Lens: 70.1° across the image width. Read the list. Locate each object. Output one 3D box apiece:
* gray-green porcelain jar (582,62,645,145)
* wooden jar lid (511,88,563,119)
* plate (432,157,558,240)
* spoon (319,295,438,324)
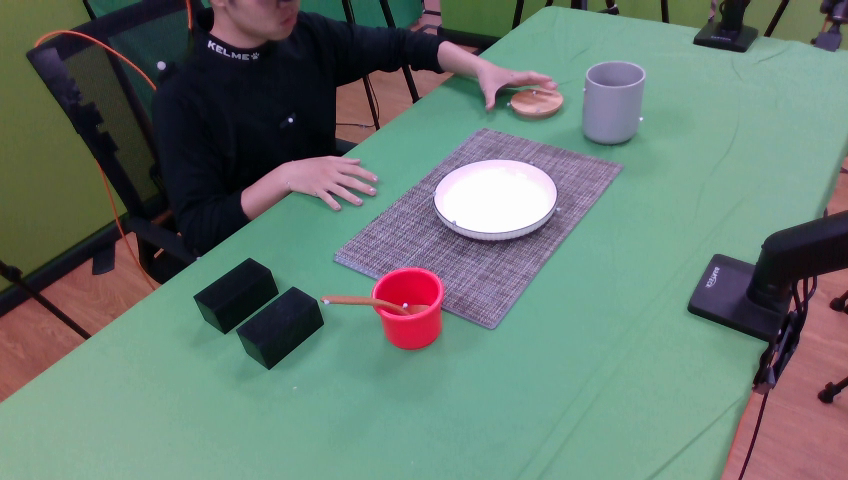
[{"bbox_3d":[0.351,-0.251,1.131,0.106,0.127,0.105,-4,41,4],"label":"gray-green porcelain jar"},{"bbox_3d":[0.237,-0.286,1.271,0.108,0.021,0.108,-5,42,5],"label":"wooden jar lid"},{"bbox_3d":[0.118,-0.066,1.013,0.207,0.039,0.206,-4,41,4],"label":"plate"},{"bbox_3d":[-0.055,0.086,0.784,0.195,0.021,0.041,19,19,-44],"label":"spoon"}]
